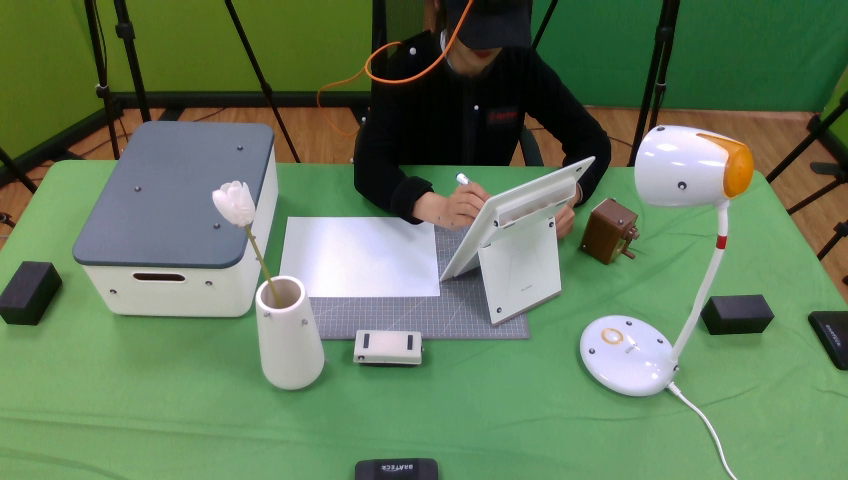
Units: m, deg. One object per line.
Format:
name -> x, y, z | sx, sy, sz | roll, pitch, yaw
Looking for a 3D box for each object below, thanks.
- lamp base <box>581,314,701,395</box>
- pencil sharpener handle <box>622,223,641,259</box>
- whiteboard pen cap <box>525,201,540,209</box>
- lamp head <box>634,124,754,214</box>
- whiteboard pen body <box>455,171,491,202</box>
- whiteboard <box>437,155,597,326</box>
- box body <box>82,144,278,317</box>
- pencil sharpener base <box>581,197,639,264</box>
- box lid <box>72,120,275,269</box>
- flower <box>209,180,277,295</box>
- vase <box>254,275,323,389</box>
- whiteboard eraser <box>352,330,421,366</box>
lamp base -> 0.361, 0.145, 0.973 | 0.178, 0.181, 0.160 | 34, 53, 23
pencil sharpener handle -> 0.397, 0.003, 1.146 | 0.030, 0.068, 0.036 | 37, 45, 27
whiteboard pen cap -> 0.230, -0.074, 1.289 | 0.033, 0.018, 0.018 | 5, 46, 4
lamp head -> 0.351, -0.089, 0.776 | 0.112, 0.113, 0.122 | -30, 30, -28
whiteboard pen body -> 0.098, -0.079, 1.045 | 0.017, 0.017, 0.140 | -23, 47, -24
whiteboard -> 0.180, 0.024, 1.029 | 0.217, 0.306, 0.143 | -21, 70, -23
box body -> -0.421, -0.041, 1.108 | 0.254, 0.161, 0.361 | 2, 46, -3
pencil sharpener base -> 0.362, -0.017, 1.179 | 0.076, 0.107, 0.061 | 37, 54, 27
box lid -> -0.417, -0.094, 1.056 | 0.263, 0.015, 0.369 | 1, 47, -3
flower -> -0.217, 0.075, 0.871 | 0.044, 0.363, 0.038 | -29, 36, -19
vase -> -0.209, 0.143, 0.921 | 0.098, 0.201, 0.097 | 1, 46, -1
whiteboard eraser -> -0.060, 0.180, 1.005 | 0.113, 0.042, 0.055 | 3, 48, -2
